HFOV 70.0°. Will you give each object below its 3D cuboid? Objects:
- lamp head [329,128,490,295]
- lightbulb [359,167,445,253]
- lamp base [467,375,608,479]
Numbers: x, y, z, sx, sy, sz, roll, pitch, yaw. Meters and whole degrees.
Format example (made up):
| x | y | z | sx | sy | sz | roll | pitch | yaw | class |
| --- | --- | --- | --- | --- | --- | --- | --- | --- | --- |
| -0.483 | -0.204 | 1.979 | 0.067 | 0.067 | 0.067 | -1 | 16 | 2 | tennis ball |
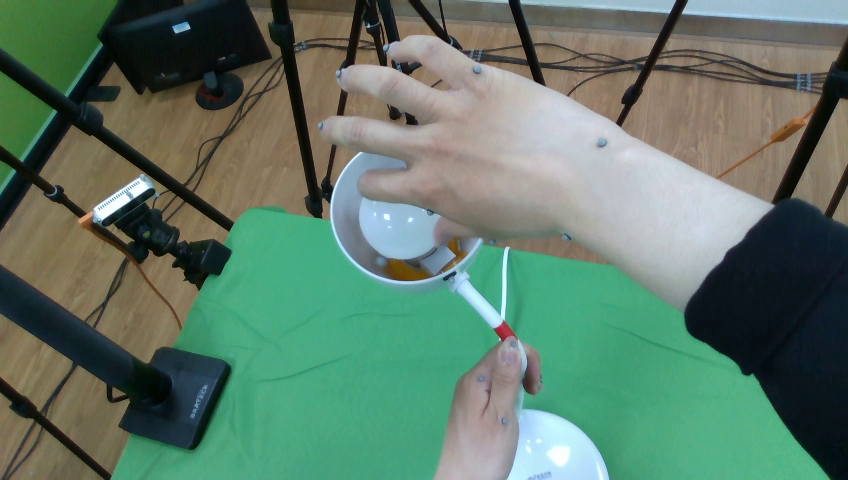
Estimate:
| x | y | z | sx | sy | sz | roll | pitch | yaw | class |
| --- | --- | --- | --- | --- | --- | --- | --- | --- | --- |
| -0.003 | -0.008 | 0.466 | 0.112 | 0.124 | 0.111 | -3 | 69 | 7 | lamp head |
| -0.012 | -0.016 | 0.442 | 0.059 | 0.108 | 0.059 | -1 | 79 | 8 | lightbulb |
| 0.113 | 0.223 | 0.640 | 0.161 | 0.182 | 0.177 | -26 | 57 | -6 | lamp base |
